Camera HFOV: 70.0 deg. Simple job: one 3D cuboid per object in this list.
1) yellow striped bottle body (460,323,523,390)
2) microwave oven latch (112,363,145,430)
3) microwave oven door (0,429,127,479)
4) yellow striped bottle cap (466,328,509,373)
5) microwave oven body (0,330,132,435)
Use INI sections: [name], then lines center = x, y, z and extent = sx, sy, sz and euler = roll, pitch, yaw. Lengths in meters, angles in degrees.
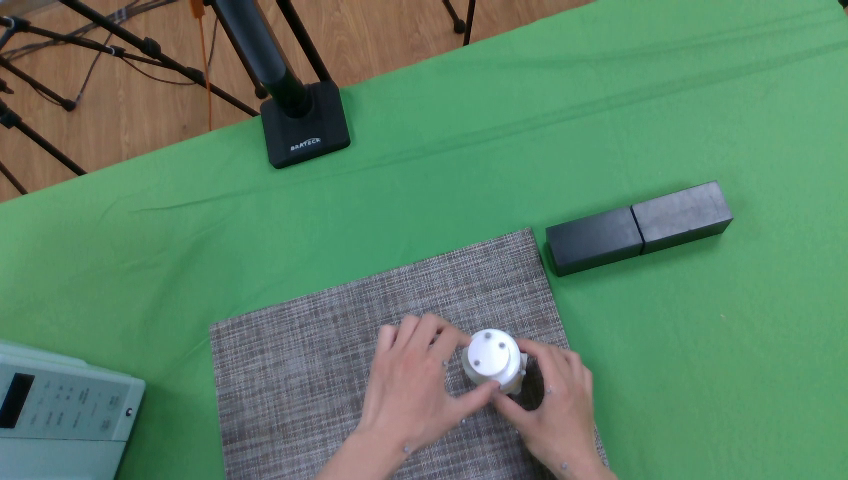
[yellow striped bottle body]
center = 0.076, 0.130, 0.673
extent = 0.062, 0.121, 0.062
euler = -4, 71, 11
[microwave oven latch]
center = -0.387, 0.201, 0.775
extent = 0.030, 0.030, 0.079
euler = 12, 76, 15
[microwave oven door]
center = -0.460, 0.373, 0.625
extent = 0.039, 0.246, 0.354
euler = 10, 74, 15
[yellow striped bottle cap]
center = 0.065, 0.113, 0.623
extent = 0.044, 0.019, 0.044
euler = -3, 71, 9
[microwave oven body]
center = -0.588, 0.312, 0.677
extent = 0.325, 0.262, 0.439
euler = 10, 75, 14
